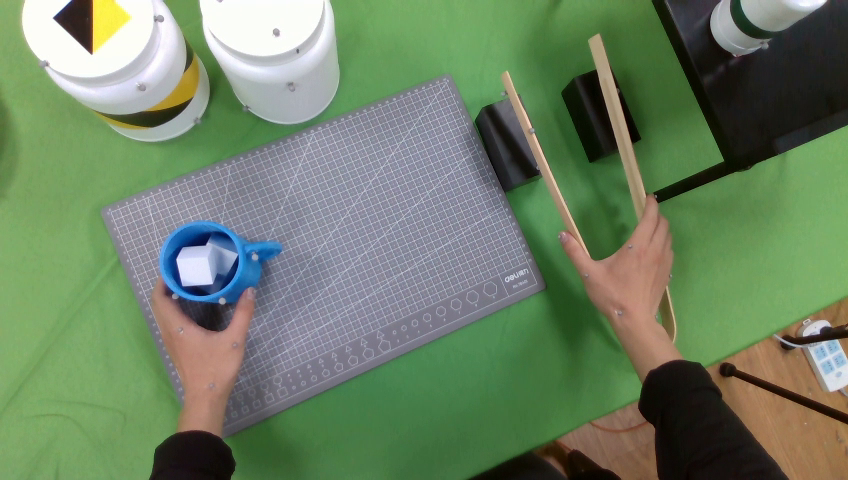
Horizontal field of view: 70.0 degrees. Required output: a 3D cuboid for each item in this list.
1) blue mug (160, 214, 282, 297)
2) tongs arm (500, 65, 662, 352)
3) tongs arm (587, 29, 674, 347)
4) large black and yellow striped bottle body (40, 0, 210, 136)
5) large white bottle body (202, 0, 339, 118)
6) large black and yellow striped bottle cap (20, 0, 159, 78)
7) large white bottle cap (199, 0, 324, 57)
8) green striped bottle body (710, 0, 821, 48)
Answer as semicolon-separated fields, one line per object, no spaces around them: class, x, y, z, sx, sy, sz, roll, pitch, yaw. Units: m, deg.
blue mug;-0.214;0.016;0.666;0.117;0.106;0.082;-16;85;-8
tongs arm;0.188;-0.032;0.717;0.051;0.026;0.386;-26;99;-11
tongs arm;0.248;-0.058;0.728;0.028;0.027;0.388;-18;98;-16
large black and yellow striped bottle body;-0.313;-0.196;0.638;0.131;0.184;0.130;1;83;-6
large white bottle body;-0.161;-0.221;0.657;0.131;0.184;0.130;1;84;-6
large black and yellow striped bottle cap;-0.306;-0.207;0.556;0.115;0.019;0.114;1;85;-8
large white bottle cap;-0.153;-0.232;0.574;0.115;0.018;0.114;1;84;-7
green striped bottle body;0.328;-0.233;0.565;0.063;0.119;0.063;1;83;-6
